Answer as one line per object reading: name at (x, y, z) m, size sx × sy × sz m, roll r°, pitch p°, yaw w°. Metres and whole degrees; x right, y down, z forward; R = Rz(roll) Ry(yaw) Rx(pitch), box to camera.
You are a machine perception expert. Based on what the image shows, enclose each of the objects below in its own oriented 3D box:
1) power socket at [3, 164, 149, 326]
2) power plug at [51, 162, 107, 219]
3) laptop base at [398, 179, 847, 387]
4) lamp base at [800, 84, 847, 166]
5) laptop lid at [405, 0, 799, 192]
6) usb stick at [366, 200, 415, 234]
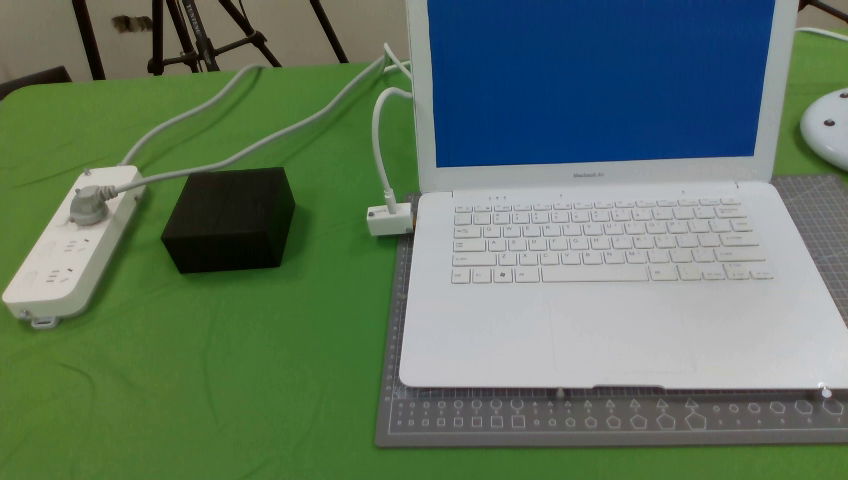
power socket at (-0.359, -0.007, 0.640) m, size 0.072 × 0.033 × 0.224 m, roll -3°, pitch 43°, yaw 3°
power plug at (-0.352, -0.056, 0.618) m, size 0.053 × 0.073 × 0.035 m, roll 9°, pitch 27°, yaw -15°
laptop base at (0.161, 0.032, 0.542) m, size 0.354 × 0.023 × 0.233 m, roll -1°, pitch 47°, yaw 6°
lamp base at (0.491, -0.180, 0.600) m, size 0.159 × 0.182 × 0.179 m, roll 24°, pitch 50°, yaw 29°
laptop lid at (0.161, -0.159, 0.578) m, size 0.356 × 0.243 × 0.013 m, roll -3°, pitch 23°, yaw 7°
usb stick at (-0.026, -0.023, 0.606) m, size 0.059 × 0.027 × 0.021 m, roll -3°, pitch 43°, yaw 5°
